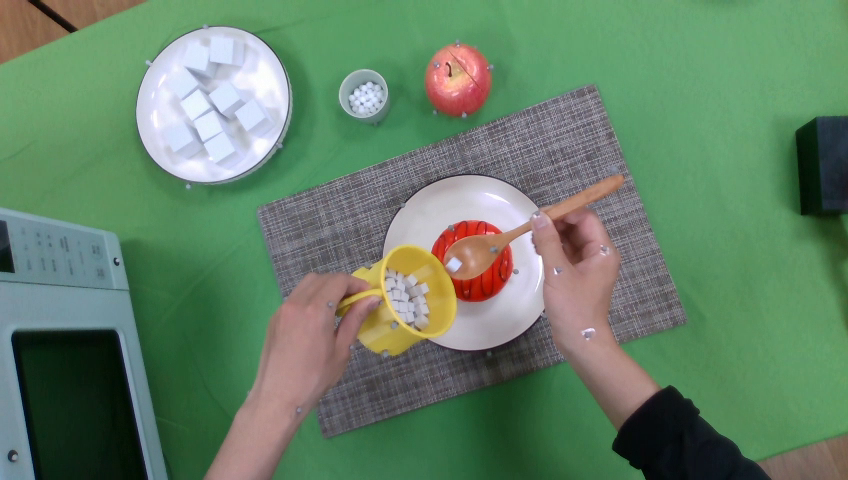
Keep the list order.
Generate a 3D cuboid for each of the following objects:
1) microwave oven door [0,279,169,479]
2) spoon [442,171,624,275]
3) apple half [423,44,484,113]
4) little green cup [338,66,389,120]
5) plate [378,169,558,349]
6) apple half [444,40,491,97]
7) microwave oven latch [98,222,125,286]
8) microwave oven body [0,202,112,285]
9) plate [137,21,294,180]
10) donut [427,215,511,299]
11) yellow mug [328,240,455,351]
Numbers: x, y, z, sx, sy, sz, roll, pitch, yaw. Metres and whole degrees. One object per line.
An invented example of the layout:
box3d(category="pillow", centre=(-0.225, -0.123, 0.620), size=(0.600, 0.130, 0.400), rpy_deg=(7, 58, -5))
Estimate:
box3d(category="microwave oven door", centre=(-0.362, 0.217, 0.633), size=(0.039, 0.245, 0.354), rpy_deg=(-17, 82, 6))
box3d(category="spoon", centre=(0.095, -0.014, 0.560), size=(0.193, 0.022, 0.041), rpy_deg=(-28, 81, 35))
box3d(category="apple half", centre=(0.029, -0.184, 0.725), size=(0.053, 0.075, 0.080), rpy_deg=(-40, 84, 7))
box3d(category="little green cup", centre=(-0.072, -0.181, 0.756), size=(0.061, 0.039, 0.061), rpy_deg=(-1, 84, 9))
box3d(category="plate", centre=(0.051, 0.022, 0.714), size=(0.209, 0.038, 0.208), rpy_deg=(-1, 84, 8))
box3d(category="apple half", centre=(0.059, -0.209, 0.722), size=(0.033, 0.081, 0.081), rpy_deg=(-40, 80, 6))
box3d(category="microwave oven latch", centre=(-0.402, 0.019, 0.762), size=(0.030, 0.029, 0.079), rpy_deg=(-15, 83, 6))
box3d(category="microwave oven body", centre=(-0.511, 0.217, 0.659), size=(0.326, 0.261, 0.440), rpy_deg=(-16, 83, 6))
box3d(category="plate", centre=(-0.265, -0.177, 0.782), size=(0.207, 0.039, 0.207), rpy_deg=(-1, 84, 8))
box3d(category="donut", centre=(0.051, 0.020, 0.703), size=(0.099, 0.048, 0.099), rpy_deg=(-1, 86, 9))
box3d(category="yellow mug", centre=(-0.037, 0.057, 0.607), size=(0.064, 0.132, 0.099), rpy_deg=(-30, 70, 41))
